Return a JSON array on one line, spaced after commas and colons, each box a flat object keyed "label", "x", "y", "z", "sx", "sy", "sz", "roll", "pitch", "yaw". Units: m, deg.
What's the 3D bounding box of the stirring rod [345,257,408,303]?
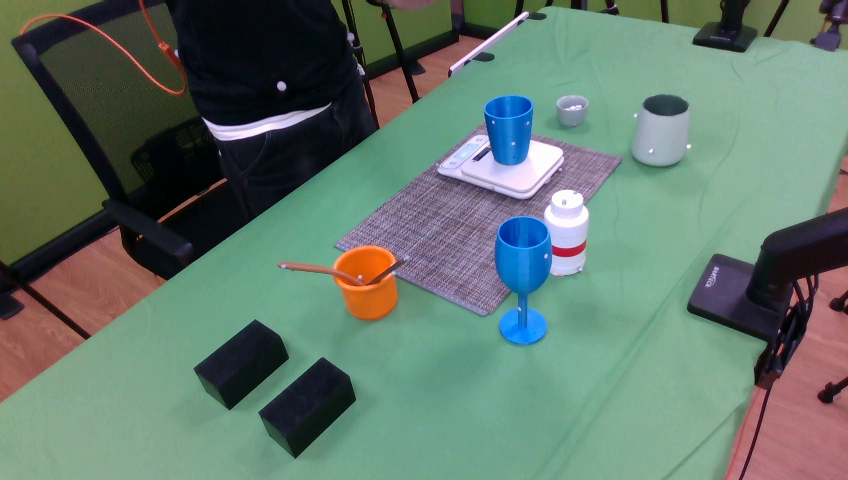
[{"label": "stirring rod", "x": -0.067, "y": 0.057, "z": 0.815, "sx": 0.014, "sy": 0.175, "sz": 0.006, "roll": -24, "pitch": 82, "yaw": -38}]

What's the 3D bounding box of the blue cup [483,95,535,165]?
[{"label": "blue cup", "x": 0.148, "y": -0.188, "z": 1.053, "sx": 0.092, "sy": 0.100, "sz": 0.092, "roll": -6, "pitch": 39, "yaw": 5}]

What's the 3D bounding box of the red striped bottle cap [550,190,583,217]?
[{"label": "red striped bottle cap", "x": 0.199, "y": -0.052, "z": 0.843, "sx": 0.044, "sy": 0.018, "sz": 0.044, "roll": -1, "pitch": 42, "yaw": 2}]

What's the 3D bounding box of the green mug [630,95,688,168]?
[{"label": "green mug", "x": 0.421, "y": -0.201, "z": 1.081, "sx": 0.092, "sy": 0.105, "sz": 0.125, "roll": 5, "pitch": 42, "yaw": 15}]

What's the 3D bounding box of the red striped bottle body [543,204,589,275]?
[{"label": "red striped bottle body", "x": 0.206, "y": -0.011, "z": 0.877, "sx": 0.063, "sy": 0.120, "sz": 0.062, "roll": -4, "pitch": 41, "yaw": 4}]

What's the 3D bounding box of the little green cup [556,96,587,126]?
[{"label": "little green cup", "x": 0.295, "y": -0.258, "z": 1.214, "sx": 0.061, "sy": 0.039, "sz": 0.061, "roll": -4, "pitch": 42, "yaw": 4}]

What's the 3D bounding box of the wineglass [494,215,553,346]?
[{"label": "wineglass", "x": 0.126, "y": 0.055, "z": 0.770, "sx": 0.074, "sy": 0.173, "sz": 0.073, "roll": -4, "pitch": 40, "yaw": 4}]

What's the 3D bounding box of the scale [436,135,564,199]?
[{"label": "scale", "x": 0.137, "y": -0.142, "z": 1.101, "sx": 0.199, "sy": 0.032, "sz": 0.149, "roll": 22, "pitch": 48, "yaw": 30}]

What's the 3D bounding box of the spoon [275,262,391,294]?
[{"label": "spoon", "x": -0.120, "y": 0.050, "z": 0.830, "sx": 0.041, "sy": 0.195, "sz": 0.021, "roll": 31, "pitch": 97, "yaw": 45}]
